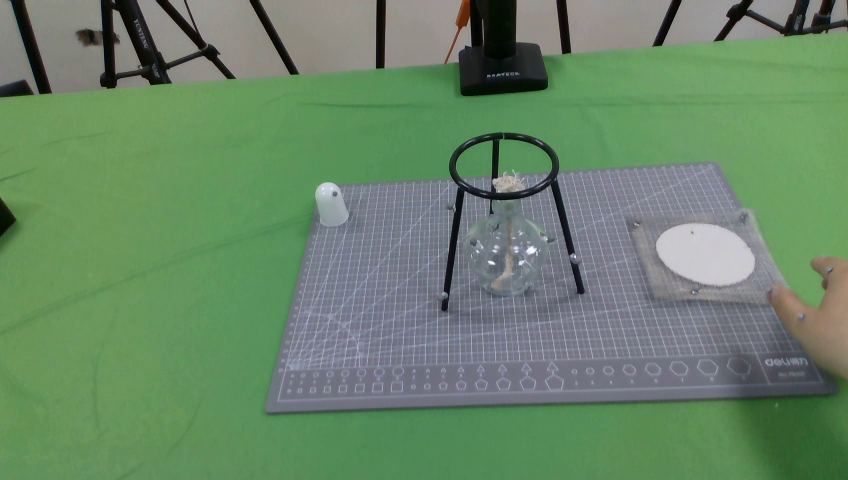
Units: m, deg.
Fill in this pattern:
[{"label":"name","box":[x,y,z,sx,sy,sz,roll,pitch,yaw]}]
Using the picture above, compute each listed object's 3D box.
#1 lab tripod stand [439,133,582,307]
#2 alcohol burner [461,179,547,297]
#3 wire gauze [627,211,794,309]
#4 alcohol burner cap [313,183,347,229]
[{"label":"lab tripod stand","box":[0.072,-0.016,0.535,0.148,0.133,0.147,-2,42,2]},{"label":"alcohol burner","box":[0.072,-0.006,0.540,0.078,0.120,0.077,-2,43,2]},{"label":"wire gauze","box":[0.264,0.015,0.571,0.125,0.011,0.120,1,44,5]},{"label":"alcohol burner cap","box":[-0.102,-0.040,0.650,0.034,0.048,0.033,-3,44,3]}]
